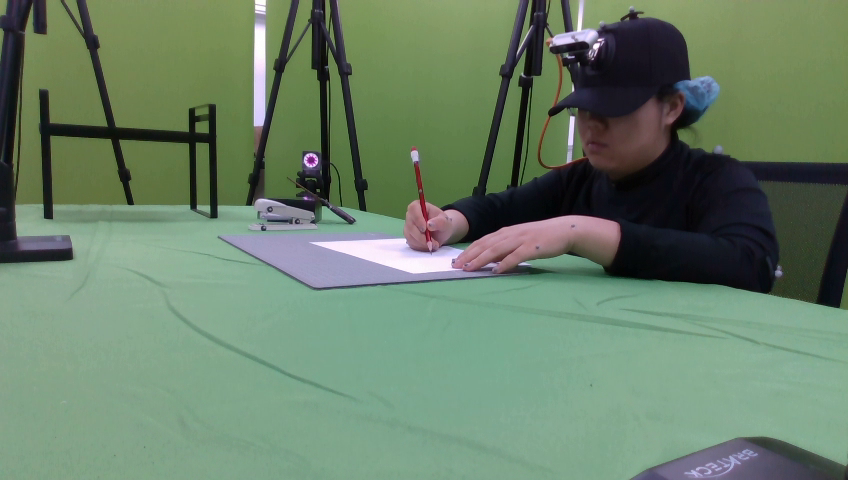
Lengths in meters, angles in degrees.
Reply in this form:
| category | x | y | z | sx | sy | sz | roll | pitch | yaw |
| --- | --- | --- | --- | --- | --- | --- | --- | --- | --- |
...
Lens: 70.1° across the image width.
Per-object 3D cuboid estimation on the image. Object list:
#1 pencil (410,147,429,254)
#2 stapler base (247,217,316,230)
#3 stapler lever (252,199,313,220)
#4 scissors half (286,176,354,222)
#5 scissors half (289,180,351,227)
| category | x | y | z | sx | sy | sz | roll | pitch | yaw |
| --- | --- | --- | --- | --- | --- | --- | --- | --- | --- |
| pencil | -0.006 | -0.064 | 0.940 | 0.012 | 0.193 | 0.012 | -7 | -27 | -3 |
| stapler base | -0.276 | -0.033 | 1.172 | 0.131 | 0.024 | 0.041 | 0 | 10 | -37 |
| stapler lever | -0.273 | -0.058 | 1.170 | 0.119 | 0.040 | 0.026 | 0 | 10 | -37 |
| scissors half | -0.229 | -0.091 | 1.337 | 0.175 | 0.013 | 0.040 | 33 | 16 | -13 |
| scissors half | -0.232 | -0.085 | 1.317 | 0.175 | 0.013 | 0.040 | 38 | 21 | 4 |
